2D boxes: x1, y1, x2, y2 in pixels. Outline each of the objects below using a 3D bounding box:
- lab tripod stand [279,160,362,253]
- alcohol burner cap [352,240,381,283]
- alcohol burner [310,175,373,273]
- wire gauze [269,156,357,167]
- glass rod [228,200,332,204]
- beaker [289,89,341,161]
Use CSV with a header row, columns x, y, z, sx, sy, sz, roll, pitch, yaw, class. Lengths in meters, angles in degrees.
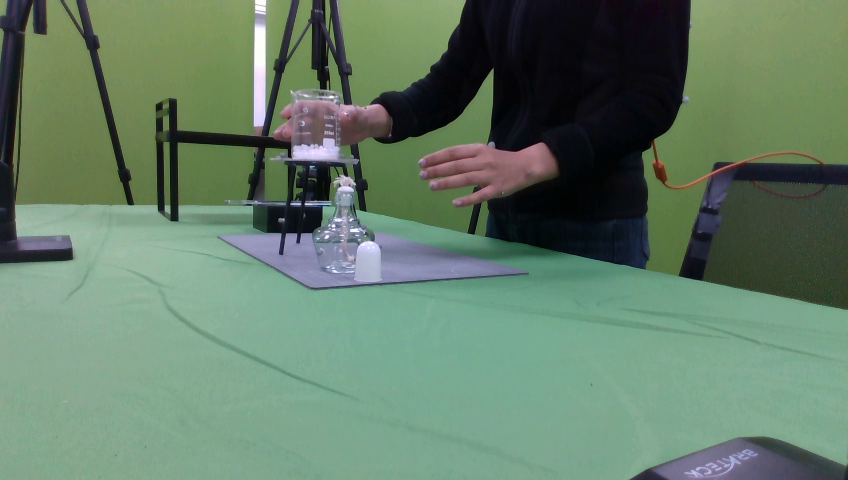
x,y,z,sx,sy,sz,roll,pitch,yaw,class
-0.166,-0.052,0.897,0.148,0.131,0.148,0,7,0,lab tripod stand
-0.065,0.023,0.690,0.034,0.048,0.034,2,8,0,alcohol burner cap
-0.100,-0.020,0.740,0.078,0.119,0.078,1,6,0,alcohol burner
-0.159,-0.116,0.886,0.122,0.011,0.125,2,4,-9,wire gauze
-0.270,-0.072,1.149,0.201,0.008,0.008,-1,8,-30,glass rod
-0.160,-0.165,0.879,0.073,0.100,0.084,6,9,35,beaker
